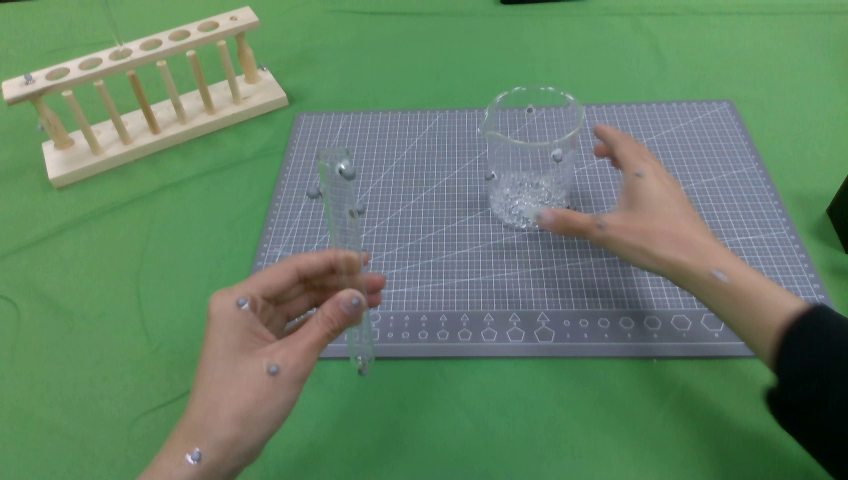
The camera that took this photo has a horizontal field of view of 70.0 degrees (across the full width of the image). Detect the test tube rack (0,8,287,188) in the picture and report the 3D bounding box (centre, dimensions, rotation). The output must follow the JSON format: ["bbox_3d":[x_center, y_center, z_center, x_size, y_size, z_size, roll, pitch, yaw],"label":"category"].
[{"bbox_3d":[-0.271,-0.147,0.611,0.242,0.086,0.066,-25,51,-17],"label":"test tube rack"}]

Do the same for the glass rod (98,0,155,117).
[{"bbox_3d":[-0.286,-0.190,0.561,0.008,0.201,0.008,1,51,0],"label":"glass rod"}]

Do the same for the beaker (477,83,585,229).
[{"bbox_3d":[0.084,-0.064,0.498,0.084,0.101,0.073,-14,49,-7],"label":"beaker"}]

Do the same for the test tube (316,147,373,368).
[{"bbox_3d":[-0.041,0.018,0.326,0.017,0.151,0.017,-1,39,1],"label":"test tube"}]
